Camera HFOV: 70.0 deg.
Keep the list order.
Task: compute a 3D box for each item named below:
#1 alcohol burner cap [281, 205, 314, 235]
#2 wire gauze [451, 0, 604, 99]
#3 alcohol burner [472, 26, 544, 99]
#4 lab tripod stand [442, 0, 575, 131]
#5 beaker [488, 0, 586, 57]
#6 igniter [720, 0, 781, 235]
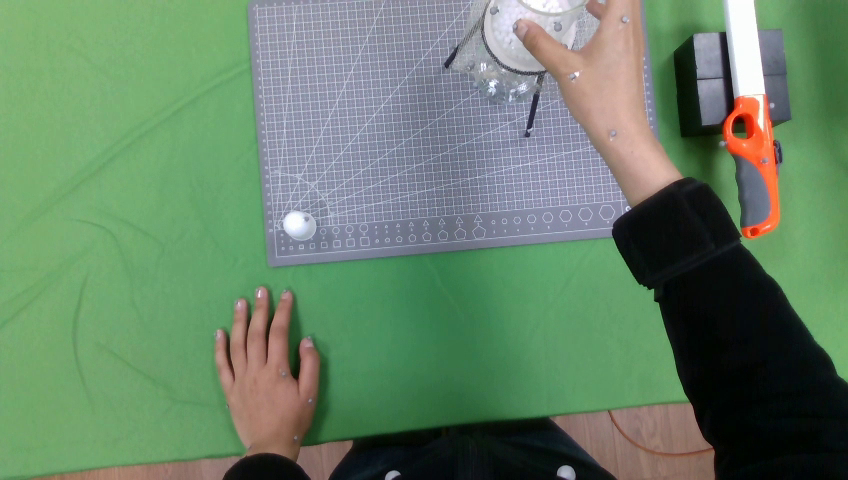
[{"bbox_3d":[-0.138,-0.023,0.650,0.034,0.048,0.034,0,87,-3],"label":"alcohol burner cap"},{"bbox_3d":[0.100,-0.201,0.557,0.121,0.011,0.125,17,83,-3],"label":"wire gauze"},{"bbox_3d":[0.090,-0.190,0.631,0.078,0.119,0.078,0,89,-1],"label":"alcohol burner"},{"bbox_3d":[0.095,-0.199,0.622,0.148,0.131,0.148,0,85,-2],"label":"lab tripod stand"},{"bbox_3d":[0.092,-0.204,0.509,0.084,0.100,0.074,-4,85,-3],"label":"beaker"},{"bbox_3d":[0.340,-0.144,0.639,0.057,0.025,0.276,-4,87,3],"label":"igniter"}]
